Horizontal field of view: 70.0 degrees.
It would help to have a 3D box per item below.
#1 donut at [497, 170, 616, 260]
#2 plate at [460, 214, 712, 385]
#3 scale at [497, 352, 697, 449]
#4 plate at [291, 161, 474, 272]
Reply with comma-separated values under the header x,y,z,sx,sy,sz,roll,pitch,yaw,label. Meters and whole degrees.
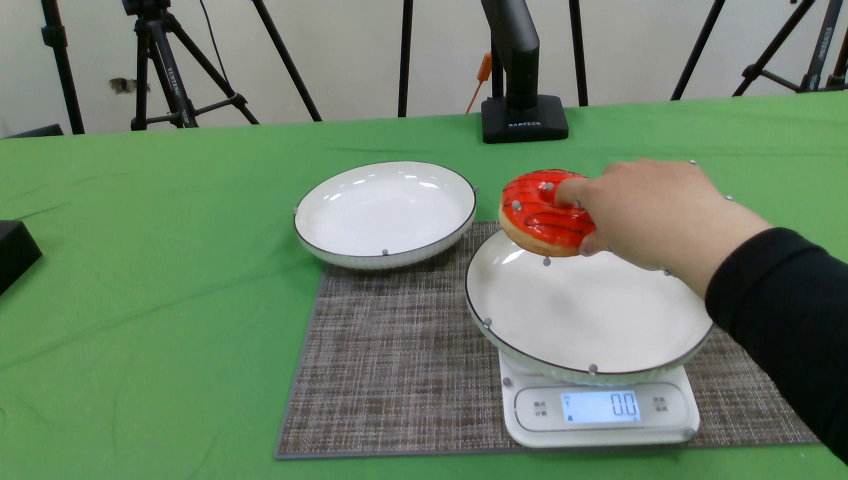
x,y,z,sx,sy,sz,roll,pitch,yaw,label
0.110,-0.021,0.506,0.099,0.048,0.098,1,39,-1,donut
0.135,0.047,0.527,0.207,0.039,0.205,-3,38,3,plate
0.138,0.087,0.529,0.148,0.032,0.199,-3,38,4,scale
-0.046,-0.027,0.697,0.209,0.038,0.207,-4,36,3,plate
